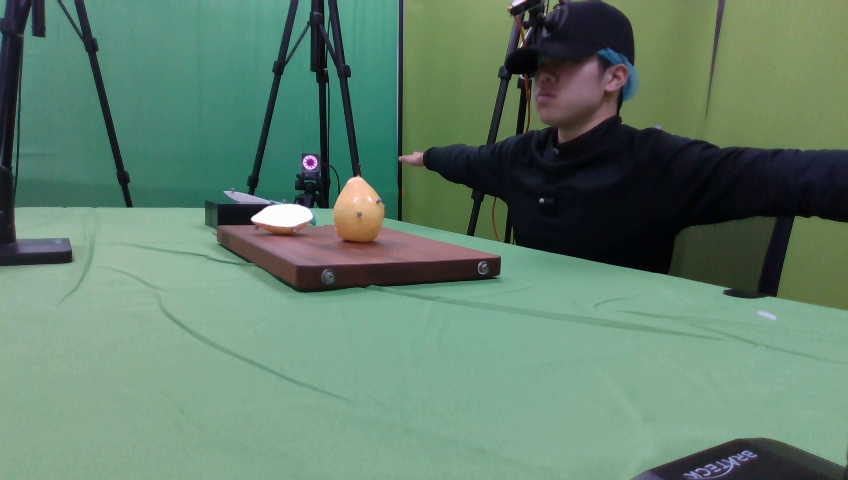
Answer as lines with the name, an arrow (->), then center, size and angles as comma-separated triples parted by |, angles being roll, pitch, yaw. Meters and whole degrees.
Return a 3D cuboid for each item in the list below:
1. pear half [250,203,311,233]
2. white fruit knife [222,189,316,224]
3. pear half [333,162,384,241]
pear half -> -0.212, -0.027, 0.899 | 0.088, 0.031, 0.070 | -16, 31, -25
white fruit knife -> -0.311, -0.071, 1.236 | 0.208, 0.027, 0.016 | 16, 7, -37
pear half -> -0.085, -0.053, 0.842 | 0.056, 0.110, 0.076 | 6, 12, 28
